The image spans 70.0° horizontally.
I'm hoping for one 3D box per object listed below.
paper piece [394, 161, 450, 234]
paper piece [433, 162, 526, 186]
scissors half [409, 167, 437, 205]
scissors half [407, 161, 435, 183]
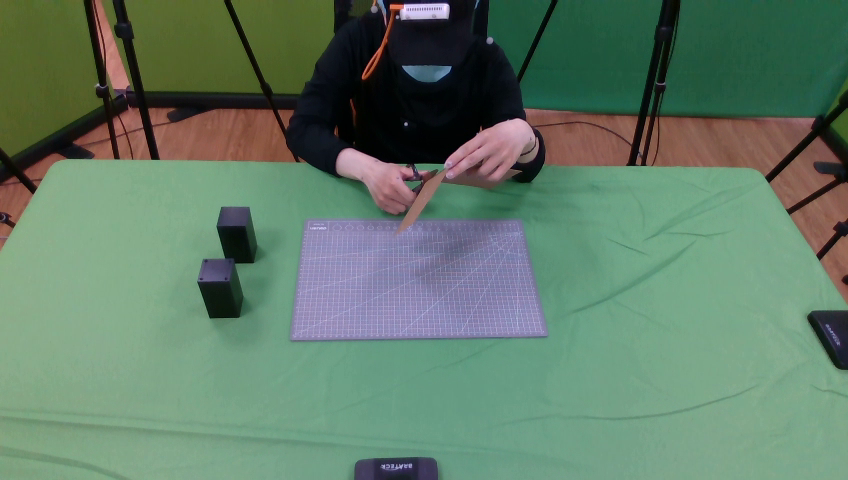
[{"bbox_3d":[-0.006,-0.074,1.076,0.004,0.135,0.135,36,71,-7],"label":"paper piece"},{"bbox_3d":[0.097,-0.122,1.125,0.138,0.136,0.008,4,84,-21],"label":"paper piece"},{"bbox_3d":[-0.001,-0.106,1.179,0.013,0.175,0.040,-6,74,-18],"label":"scissors half"},{"bbox_3d":[-0.004,-0.129,1.179,0.013,0.040,0.174,-11,15,-18],"label":"scissors half"}]
